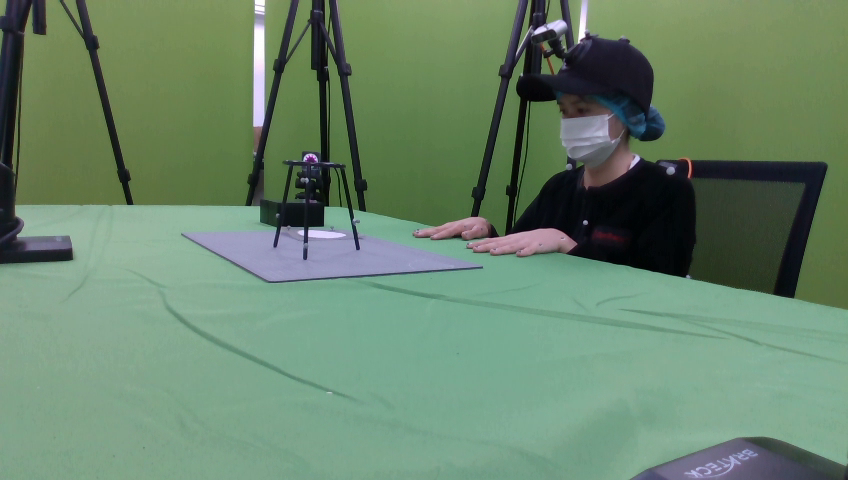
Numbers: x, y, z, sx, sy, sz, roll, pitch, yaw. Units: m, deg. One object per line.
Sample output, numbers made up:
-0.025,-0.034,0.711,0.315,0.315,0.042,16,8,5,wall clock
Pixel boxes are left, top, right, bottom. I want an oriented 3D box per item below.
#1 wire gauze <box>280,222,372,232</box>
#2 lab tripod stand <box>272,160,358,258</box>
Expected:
-0.173,-0.025,1.072,0.121,0.011,0.126,6,2,38,wire gauze
-0.159,-0.048,0.876,0.148,0.131,0.148,3,5,0,lab tripod stand
